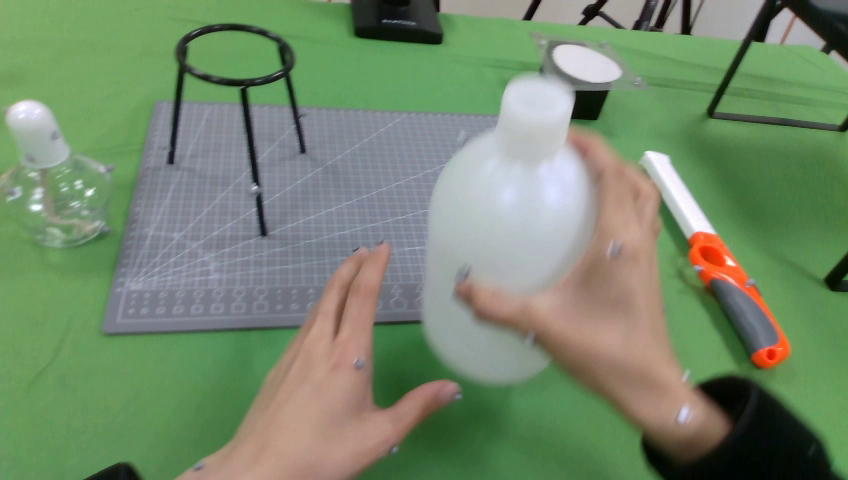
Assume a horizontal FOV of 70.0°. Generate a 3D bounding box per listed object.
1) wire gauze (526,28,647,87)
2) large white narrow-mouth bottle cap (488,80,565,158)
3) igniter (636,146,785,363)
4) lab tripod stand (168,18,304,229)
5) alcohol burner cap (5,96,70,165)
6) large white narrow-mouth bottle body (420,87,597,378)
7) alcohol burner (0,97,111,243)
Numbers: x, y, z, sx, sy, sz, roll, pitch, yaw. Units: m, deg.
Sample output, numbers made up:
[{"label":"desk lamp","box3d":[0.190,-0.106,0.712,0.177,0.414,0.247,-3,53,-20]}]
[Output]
[{"label":"wire gauze","box3d":[0.193,-0.219,0.734,0.122,0.011,0.123,1,46,-14]},{"label":"large white narrow-mouth bottle cap","box3d":[0.051,-0.061,0.304,0.038,0.024,0.037,1,48,-1]},{"label":"igniter","box3d":[0.270,0.001,0.588,0.057,0.025,0.273,9,44,-19]},{"label":"lab tripod stand","box3d":[-0.153,-0.104,0.515,0.149,0.132,0.147,8,45,-8]},{"label":"alcohol burner cap","box3d":[-0.276,-0.079,0.429,0.034,0.048,0.033,5,51,-7]},{"label":"large white narrow-mouth bottle body","box3d":[0.050,-0.003,0.368,0.102,0.196,0.101,1,48,-1]},{"label":"alcohol burner","box3d":[-0.281,-0.055,0.456,0.078,0.120,0.077,8,43,-7]}]
